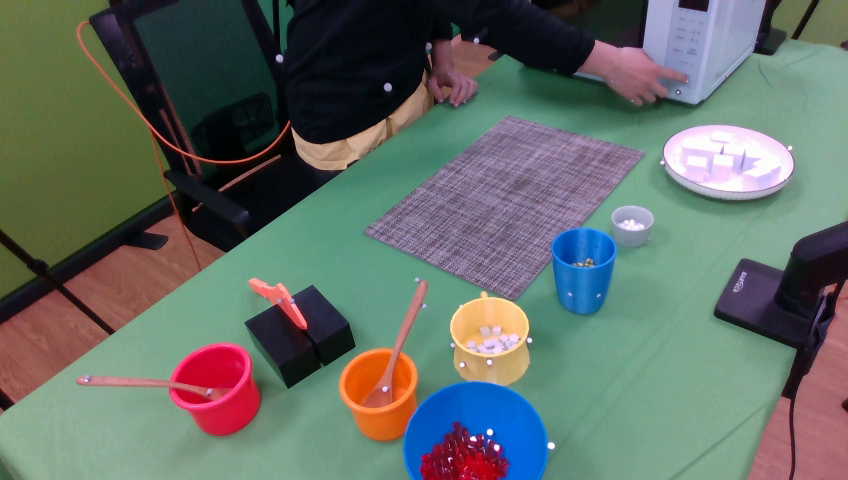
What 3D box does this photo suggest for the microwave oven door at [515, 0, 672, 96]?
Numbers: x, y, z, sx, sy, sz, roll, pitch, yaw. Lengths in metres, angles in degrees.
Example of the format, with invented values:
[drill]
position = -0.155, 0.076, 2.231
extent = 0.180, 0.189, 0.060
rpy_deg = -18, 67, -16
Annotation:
[microwave oven door]
position = 0.344, -0.455, 1.260
extent = 0.353, 0.245, 0.039
rpy_deg = 26, 51, 33

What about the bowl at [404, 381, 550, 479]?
[bowl]
position = 0.058, 0.235, 0.645
extent = 0.151, 0.077, 0.150
rpy_deg = -4, 39, 4

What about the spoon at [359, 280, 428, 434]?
[spoon]
position = -0.032, 0.138, 0.719
extent = 0.041, 0.193, 0.022
rpy_deg = 22, 4, 30

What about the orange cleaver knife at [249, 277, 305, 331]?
[orange cleaver knife]
position = -0.210, 0.088, 0.856
extent = 0.012, 0.077, 0.210
rpy_deg = -28, 15, -25

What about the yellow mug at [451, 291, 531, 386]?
[yellow mug]
position = 0.085, 0.120, 0.786
extent = 0.100, 0.064, 0.130
rpy_deg = -7, 39, 1

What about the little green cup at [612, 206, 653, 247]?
[little green cup]
position = 0.321, -0.019, 0.936
extent = 0.061, 0.039, 0.061
rpy_deg = -4, 41, 4

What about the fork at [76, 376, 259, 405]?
[fork]
position = -0.295, 0.176, 0.716
extent = 0.209, 0.018, 0.028
rpy_deg = 19, 27, -37

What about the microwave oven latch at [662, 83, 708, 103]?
[microwave oven latch]
position = 0.518, -0.297, 1.204
extent = 0.030, 0.029, 0.078
rpy_deg = -37, 47, -29

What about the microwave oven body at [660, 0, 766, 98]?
[microwave oven body]
position = 0.472, -0.513, 1.317
extent = 0.438, 0.261, 0.327
rpy_deg = 26, 51, 34

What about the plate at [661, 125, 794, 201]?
[plate]
position = 0.513, -0.128, 1.035
extent = 0.207, 0.039, 0.206
rpy_deg = -4, 40, 4

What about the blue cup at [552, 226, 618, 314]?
[blue cup]
position = 0.218, 0.047, 0.825
extent = 0.092, 0.101, 0.092
rpy_deg = -6, 40, 5
